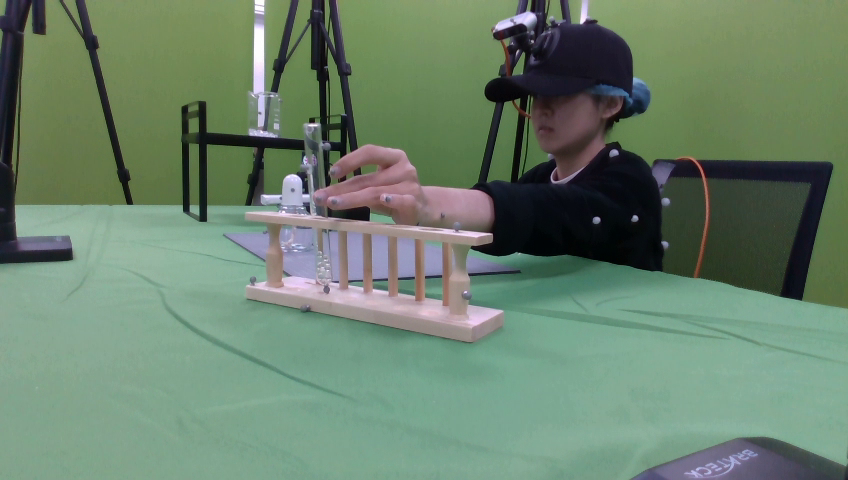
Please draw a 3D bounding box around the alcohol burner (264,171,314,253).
[{"bbox_3d":[-0.194,-0.042,0.888,0.078,0.119,0.078,3,5,0],"label":"alcohol burner"}]

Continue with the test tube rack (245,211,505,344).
[{"bbox_3d":[-0.049,0.025,0.547,0.241,0.085,0.067,7,8,29],"label":"test tube rack"}]

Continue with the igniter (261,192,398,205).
[{"bbox_3d":[-0.185,-0.083,1.217,0.278,0.025,0.057,-2,12,-25],"label":"igniter"}]

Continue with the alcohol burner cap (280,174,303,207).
[{"bbox_3d":[-0.194,-0.072,0.884,0.034,0.048,0.034,1,5,0],"label":"alcohol burner cap"}]

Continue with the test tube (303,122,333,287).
[{"bbox_3d":[-0.095,-0.030,0.544,0.017,0.150,0.017,-2,14,1],"label":"test tube"}]

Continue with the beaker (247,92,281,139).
[{"bbox_3d":[-0.361,-0.280,1.359,0.074,0.100,0.084,4,8,8],"label":"beaker"}]
